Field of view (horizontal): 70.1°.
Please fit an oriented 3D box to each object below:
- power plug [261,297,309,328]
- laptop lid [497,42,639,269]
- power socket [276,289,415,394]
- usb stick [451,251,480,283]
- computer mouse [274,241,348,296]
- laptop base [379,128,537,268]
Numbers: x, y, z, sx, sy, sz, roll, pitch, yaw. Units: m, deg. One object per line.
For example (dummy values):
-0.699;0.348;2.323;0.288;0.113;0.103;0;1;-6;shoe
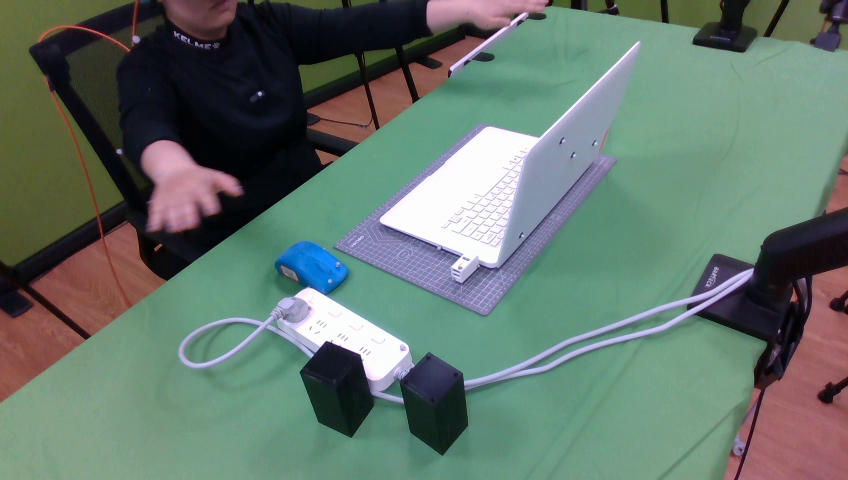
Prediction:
-0.193;0.107;0.831;0.073;0.053;0.035;-31;44;-25;power plug
0.221;-0.130;0.912;0.013;0.242;0.357;31;51;21;laptop lid
-0.114;0.133;0.821;0.225;0.033;0.072;25;49;33;power socket
0.066;0.036;0.899;0.021;0.027;0.059;23;45;32;usb stick
-0.175;0.040;0.936;0.116;0.041;0.063;26;48;27;computer mouse
0.118;-0.088;1.058;0.233;0.023;0.355;19;47;32;laptop base
